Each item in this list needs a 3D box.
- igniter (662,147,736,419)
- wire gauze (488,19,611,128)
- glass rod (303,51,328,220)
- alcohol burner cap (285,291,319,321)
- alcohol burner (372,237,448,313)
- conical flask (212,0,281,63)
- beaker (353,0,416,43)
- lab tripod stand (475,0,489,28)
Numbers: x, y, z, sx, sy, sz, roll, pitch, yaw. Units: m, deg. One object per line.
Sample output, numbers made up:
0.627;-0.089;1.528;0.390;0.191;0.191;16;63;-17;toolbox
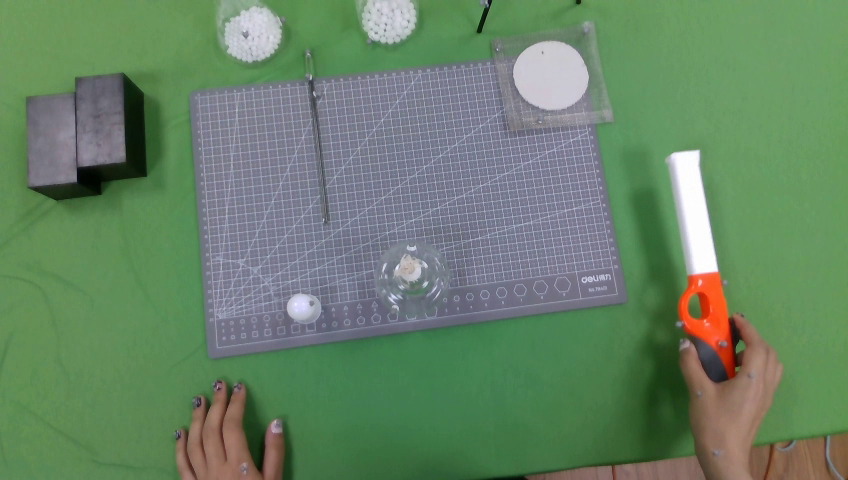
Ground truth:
0.282;0.042;0.621;0.057;0.025;0.276;-6;85;-5;igniter
0.144;-0.191;0.697;0.125;0.011;0.121;-8;81;-3;wire gauze
-0.121;-0.119;0.675;0.008;0.008;0.199;-8;80;-3;glass rod
-0.128;0.067;0.627;0.034;0.048;0.033;0;80;-2;alcohol burner cap
-0.014;0.033;0.600;0.078;0.119;0.077;0;81;-1;alcohol burner
-0.199;-0.247;0.641;0.075;0.122;0.075;0;79;-1;conical flask
-0.044;-0.272;0.662;0.074;0.100;0.083;-5;79;-3;beaker
0.111;-0.311;0.656;0.148;0.132;0.148;0;82;-2;lab tripod stand
